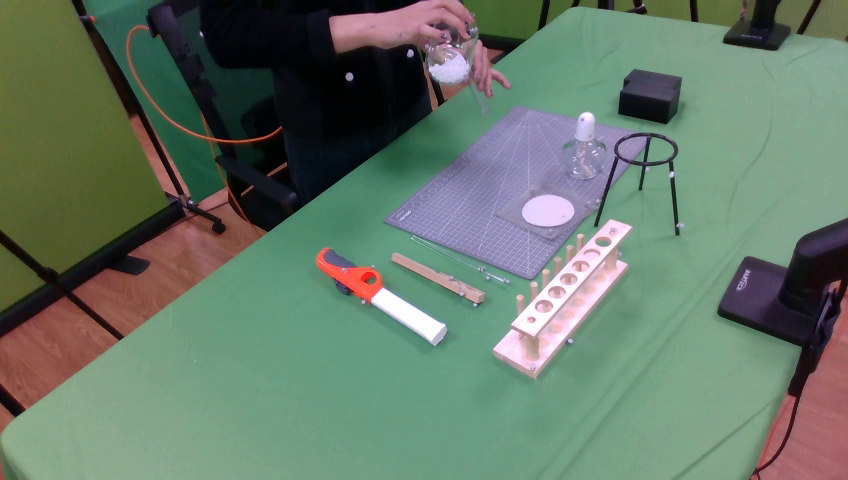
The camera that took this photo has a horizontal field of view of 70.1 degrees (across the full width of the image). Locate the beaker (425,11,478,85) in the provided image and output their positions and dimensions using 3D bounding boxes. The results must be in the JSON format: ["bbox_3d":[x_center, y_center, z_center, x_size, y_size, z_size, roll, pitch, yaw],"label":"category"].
[{"bbox_3d":[0.043,-0.291,0.931,0.074,0.084,0.100,-4,44,17],"label":"beaker"}]

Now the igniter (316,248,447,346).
[{"bbox_3d":[-0.074,0.078,0.902,0.274,0.025,0.057,29,63,36],"label":"igniter"}]

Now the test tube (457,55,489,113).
[{"bbox_3d":[0.087,-0.267,1.052,0.017,0.151,0.017,-9,64,19],"label":"test tube"}]

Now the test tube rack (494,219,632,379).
[{"bbox_3d":[0.191,0.068,0.818,0.066,0.085,0.243,25,51,35],"label":"test tube rack"}]

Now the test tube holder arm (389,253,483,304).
[{"bbox_3d":[0.015,0.056,0.916,0.177,0.015,0.013,24,14,33],"label":"test tube holder arm"}]

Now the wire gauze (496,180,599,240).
[{"bbox_3d":[0.206,-0.050,1.012,0.125,0.011,0.120,-34,45,-26],"label":"wire gauze"}]

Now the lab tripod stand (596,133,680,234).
[{"bbox_3d":[0.338,-0.090,0.940,0.148,0.132,0.147,-7,39,6],"label":"lab tripod stand"}]

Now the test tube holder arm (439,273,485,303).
[{"bbox_3d":[0.053,0.071,0.896,0.087,0.015,0.010,24,14,34],"label":"test tube holder arm"}]

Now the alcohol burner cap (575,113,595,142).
[{"bbox_3d":[0.276,-0.194,1.028,0.034,0.048,0.033,-2,45,3],"label":"alcohol burner cap"}]

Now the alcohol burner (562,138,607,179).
[{"bbox_3d":[0.280,-0.167,1.052,0.078,0.119,0.077,-5,38,4],"label":"alcohol burner"}]

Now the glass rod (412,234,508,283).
[{"bbox_3d":[0.051,0.027,0.951,0.198,0.008,0.008,26,52,37],"label":"glass rod"}]
